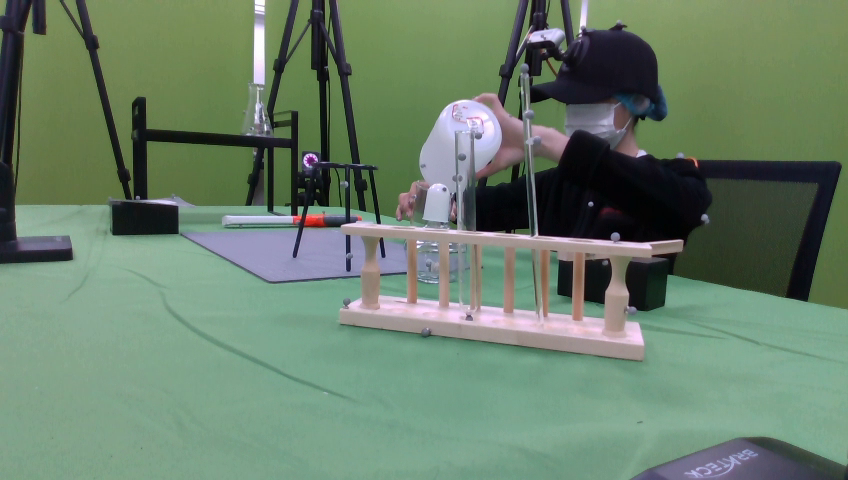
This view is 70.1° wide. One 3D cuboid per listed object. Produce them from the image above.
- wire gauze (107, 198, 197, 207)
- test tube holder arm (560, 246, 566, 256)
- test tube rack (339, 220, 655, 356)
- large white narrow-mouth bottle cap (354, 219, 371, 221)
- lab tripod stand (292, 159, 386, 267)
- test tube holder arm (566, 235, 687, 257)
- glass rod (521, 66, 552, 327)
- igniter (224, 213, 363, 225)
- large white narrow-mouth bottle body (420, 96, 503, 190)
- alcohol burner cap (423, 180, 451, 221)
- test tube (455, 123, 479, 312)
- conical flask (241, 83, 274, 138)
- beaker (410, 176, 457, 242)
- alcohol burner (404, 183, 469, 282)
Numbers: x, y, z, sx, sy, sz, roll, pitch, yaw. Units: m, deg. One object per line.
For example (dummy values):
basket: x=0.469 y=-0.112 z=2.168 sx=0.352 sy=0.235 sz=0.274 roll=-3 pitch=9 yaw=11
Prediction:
wire gauze: x=-0.462 y=-0.064 z=1.023 sx=0.126 sy=0.011 sz=0.121 roll=-2 pitch=7 yaw=-32
test tube holder arm: x=0.173 y=0.007 z=0.611 sx=0.088 sy=0.015 sz=0.010 roll=-3 pitch=9 yaw=-30
test tube rack: x=0.056 y=0.032 z=0.495 sx=0.242 sy=0.085 sz=0.067 roll=4 pitch=7 yaw=15
large white narrow-mouth bottle cap: x=-0.120 y=-0.029 z=1.184 sx=0.038 sy=0.024 sz=0.037 roll=2 pitch=8 yaw=0
lab tripod stand: x=-0.105 y=-0.039 z=0.798 sx=0.148 sy=0.131 sz=0.148 roll=2 pitch=5 yaw=0
test tube holder arm: x=0.215 y=0.006 z=0.629 sx=0.179 sy=0.015 sz=0.013 roll=-3 pitch=9 yaw=-30
glass rod: x=0.085 y=-0.028 z=0.454 sx=0.008 sy=0.199 sz=0.008 roll=-7 pitch=10 yaw=2
igniter: x=-0.255 y=-0.041 z=1.210 sx=0.278 sy=0.025 sz=0.057 roll=-2 pitch=-2 yaw=-31
large white narrow-mouth bottle body: x=0.048 y=-0.137 z=0.962 sx=0.102 sy=0.101 sz=0.194 roll=0 pitch=-21 yaw=-16
alcohol burner cap: x=0.017 y=-0.047 z=0.711 sx=0.034 sy=0.048 sz=0.034 roll=8 pitch=5 yaw=0
test tube: x=0.034 y=-0.016 z=0.476 sx=0.017 sy=0.150 sz=0.017 roll=-2 pitch=10 yaw=1
conical flask: x=-0.384 y=-0.297 z=1.393 sx=0.075 sy=0.122 sz=0.075 roll=2 pitch=7 yaw=0
beaker: x=0.017 y=-0.053 z=1.060 sx=0.074 sy=0.100 sz=0.083 roll=-6 pitch=25 yaw=-37
alcohol burner: x=0.015 y=-0.011 z=0.715 sx=0.078 sy=0.119 sz=0.078 roll=0 pitch=7 yaw=0
